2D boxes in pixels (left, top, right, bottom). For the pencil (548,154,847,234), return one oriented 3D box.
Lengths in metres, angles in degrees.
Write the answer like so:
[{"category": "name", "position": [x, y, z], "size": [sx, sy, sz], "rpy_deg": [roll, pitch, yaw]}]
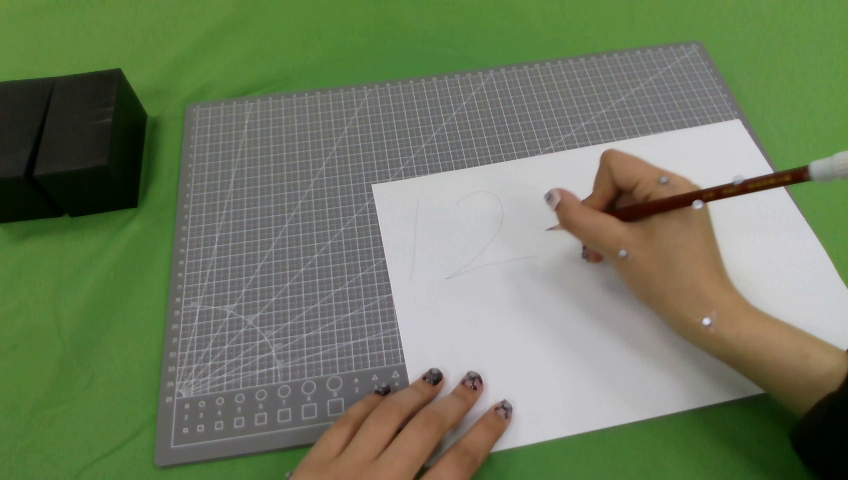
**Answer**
[{"category": "pencil", "position": [0.141, -0.020, 0.332], "size": [0.012, 0.193, 0.012], "rpy_deg": [8, 77, -35]}]
